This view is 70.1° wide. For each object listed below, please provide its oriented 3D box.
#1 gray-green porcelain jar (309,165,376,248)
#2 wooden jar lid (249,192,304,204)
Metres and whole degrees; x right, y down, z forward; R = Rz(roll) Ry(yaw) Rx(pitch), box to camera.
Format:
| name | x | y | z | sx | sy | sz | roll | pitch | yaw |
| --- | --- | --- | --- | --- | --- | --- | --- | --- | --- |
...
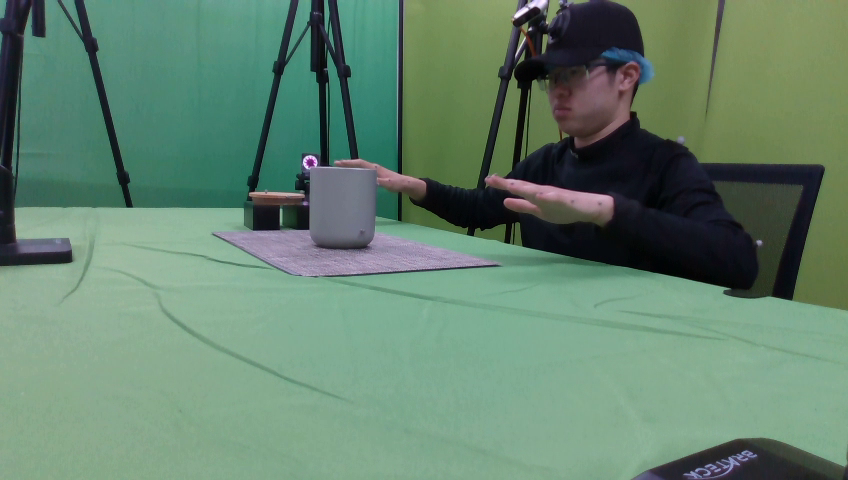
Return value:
| name | x | y | z | sx | sy | sz | roll | pitch | yaw |
| --- | --- | --- | --- | --- | --- | --- | --- | --- | --- |
| gray-green porcelain jar | -0.130 | -0.054 | 0.966 | 0.106 | 0.126 | 0.106 | 2 | 7 | 0 |
| wooden jar lid | -0.297 | -0.086 | 1.220 | 0.108 | 0.020 | 0.108 | 4 | 7 | 0 |
